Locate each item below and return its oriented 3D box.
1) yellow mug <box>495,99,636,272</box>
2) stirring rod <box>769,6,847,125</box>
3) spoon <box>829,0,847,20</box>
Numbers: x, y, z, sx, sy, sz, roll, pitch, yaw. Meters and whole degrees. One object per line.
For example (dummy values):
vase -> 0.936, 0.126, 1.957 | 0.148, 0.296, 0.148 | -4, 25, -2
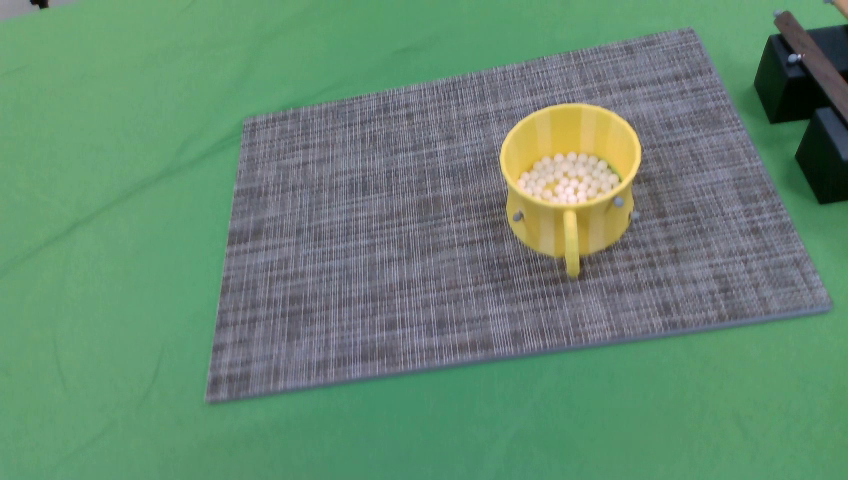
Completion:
yellow mug -> 0.106, -0.037, 0.455 | 0.100, 0.064, 0.129 | -3, 57, 11
stirring rod -> 0.296, -0.114, 0.440 | 0.014, 0.006, 0.174 | -34, 50, 31
spoon -> 0.336, -0.130, 0.437 | 0.041, 0.022, 0.192 | -6, 54, 9
